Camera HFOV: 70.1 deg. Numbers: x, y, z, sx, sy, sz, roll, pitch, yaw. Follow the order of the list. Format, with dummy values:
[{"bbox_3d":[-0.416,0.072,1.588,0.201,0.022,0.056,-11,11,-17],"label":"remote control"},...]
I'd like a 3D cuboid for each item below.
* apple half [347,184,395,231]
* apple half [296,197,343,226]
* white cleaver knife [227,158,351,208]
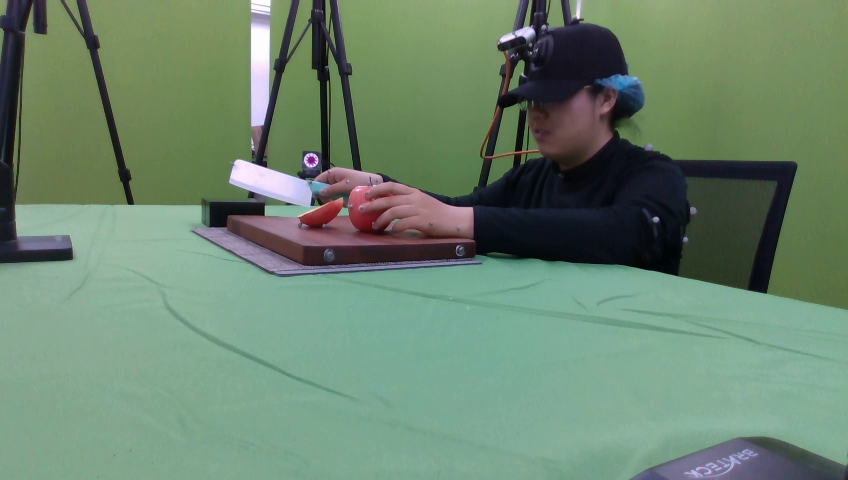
[{"bbox_3d":[-0.075,-0.049,0.948,0.053,0.074,0.081,13,8,33],"label":"apple half"},{"bbox_3d":[-0.163,-0.041,0.979,0.081,0.033,0.081,-21,7,3],"label":"apple half"},{"bbox_3d":[-0.251,-0.099,1.216,0.288,0.066,0.021,14,-19,-30],"label":"white cleaver knife"}]
